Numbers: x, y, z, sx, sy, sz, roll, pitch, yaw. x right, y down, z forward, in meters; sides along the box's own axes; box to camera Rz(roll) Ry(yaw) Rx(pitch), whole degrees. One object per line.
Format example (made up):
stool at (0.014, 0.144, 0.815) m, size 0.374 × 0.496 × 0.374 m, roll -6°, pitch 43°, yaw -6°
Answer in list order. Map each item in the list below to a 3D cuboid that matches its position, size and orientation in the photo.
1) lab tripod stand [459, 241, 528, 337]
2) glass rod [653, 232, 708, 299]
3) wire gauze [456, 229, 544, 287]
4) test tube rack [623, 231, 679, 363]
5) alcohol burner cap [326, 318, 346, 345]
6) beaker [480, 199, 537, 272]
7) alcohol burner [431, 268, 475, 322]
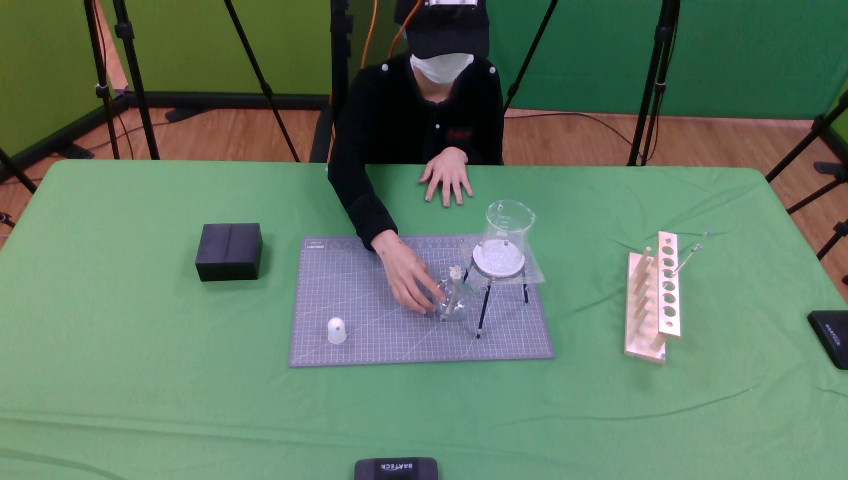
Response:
lab tripod stand at (0.122, 0.075, 1.054) m, size 0.148 × 0.132 × 0.147 m, roll 3°, pitch 44°, yaw -3°
glass rod at (0.441, 0.049, 1.050) m, size 0.008 × 0.200 × 0.008 m, roll 4°, pitch 52°, yaw -5°
wire gauze at (0.125, 0.030, 1.008) m, size 0.125 × 0.011 × 0.120 m, roll -3°, pitch 48°, yaw -11°
test tube rack at (0.410, 0.094, 1.096) m, size 0.066 × 0.085 × 0.241 m, roll 13°, pitch 46°, yaw 9°
alcohol burner cap at (-0.149, 0.151, 1.023) m, size 0.034 × 0.048 × 0.033 m, roll 2°, pitch 46°, yaw -2°
beaker at (0.132, -0.004, 0.973) m, size 0.084 × 0.101 × 0.073 m, roll -4°, pitch 47°, yaw -9°
alcohol burner at (0.051, 0.087, 1.051) m, size 0.078 × 0.119 × 0.077 m, roll 3°, pitch 48°, yaw -3°
